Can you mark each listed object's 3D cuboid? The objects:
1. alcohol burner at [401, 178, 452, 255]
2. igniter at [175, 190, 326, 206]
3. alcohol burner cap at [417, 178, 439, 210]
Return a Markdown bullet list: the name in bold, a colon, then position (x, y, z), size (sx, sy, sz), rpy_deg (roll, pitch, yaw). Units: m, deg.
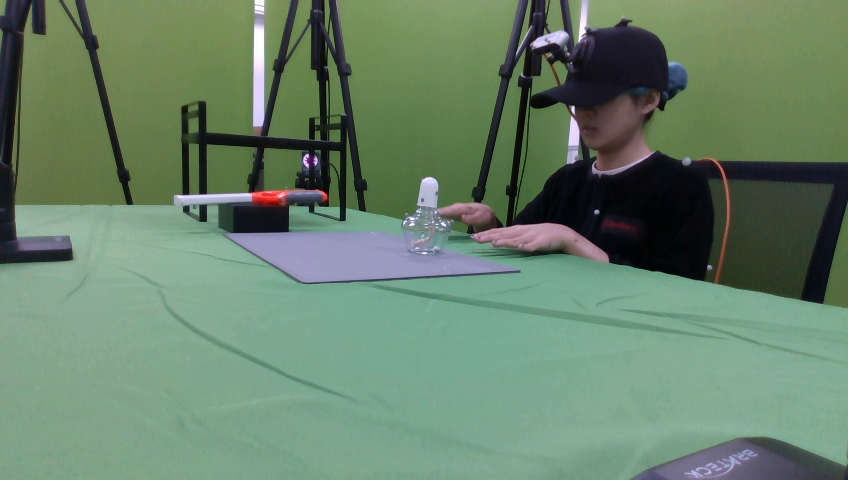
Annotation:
- **alcohol burner**: position (0.005, -0.036, 0.923), size (0.078, 0.119, 0.078), rpy_deg (5, 7, 0)
- **igniter**: position (-0.315, -0.079, 1.128), size (0.278, 0.025, 0.057), rpy_deg (-5, 13, -34)
- **alcohol burner cap**: position (0.008, -0.071, 0.917), size (0.034, 0.048, 0.034), rpy_deg (6, 5, 0)
